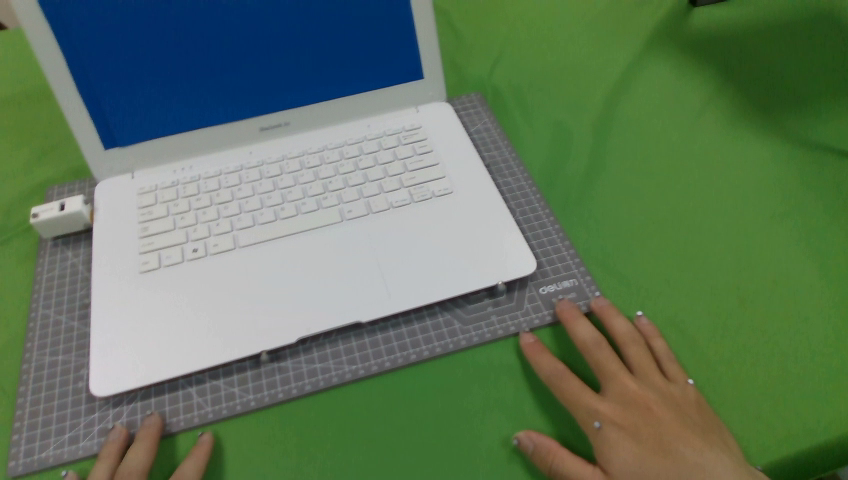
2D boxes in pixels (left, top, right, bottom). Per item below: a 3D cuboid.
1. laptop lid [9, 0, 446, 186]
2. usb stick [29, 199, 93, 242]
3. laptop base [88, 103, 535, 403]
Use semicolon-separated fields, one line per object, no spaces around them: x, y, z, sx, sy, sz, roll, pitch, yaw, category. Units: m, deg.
-0.162;-0.193;0.550;0.357;0.244;0.013;-17;30;-9;laptop lid
-0.315;-0.019;0.541;0.059;0.027;0.021;-13;49;-11;usb stick
-0.108;-0.008;0.536;0.355;0.023;0.233;-15;54;-9;laptop base
